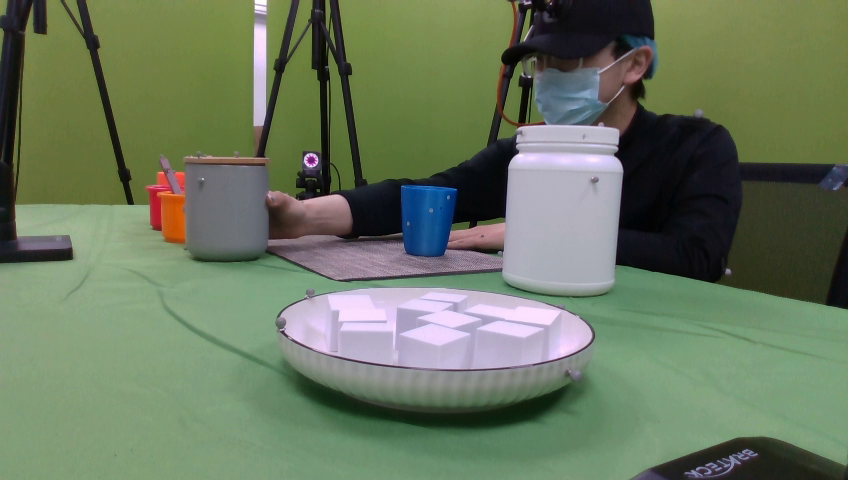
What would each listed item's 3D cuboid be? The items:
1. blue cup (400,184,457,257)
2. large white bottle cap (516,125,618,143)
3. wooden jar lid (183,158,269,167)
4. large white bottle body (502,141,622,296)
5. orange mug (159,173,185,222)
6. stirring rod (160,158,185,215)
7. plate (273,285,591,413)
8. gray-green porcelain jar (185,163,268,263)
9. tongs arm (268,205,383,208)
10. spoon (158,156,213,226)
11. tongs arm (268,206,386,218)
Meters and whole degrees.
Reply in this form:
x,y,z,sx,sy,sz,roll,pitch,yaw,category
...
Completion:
x,y,z,sx,sy,sz,roll,pitch,yaw,category
0.003,-0.029,0.901,0.093,0.100,0.092,4,8,0,blue cup
0.163,-0.120,0.695,0.115,0.018,0.115,2,8,0,large white bottle cap
-0.260,-0.099,0.800,0.108,0.020,0.108,0,9,0,wooden jar lid
0.160,-0.037,0.706,0.131,0.184,0.130,2,7,0,large white bottle body
-0.477,-0.089,1.241,0.127,0.101,0.083,-7,11,-33,orange mug
-0.391,-0.070,0.972,0.014,0.006,0.175,-3,51,-48,stirring rod
0.004,0.069,0.407,0.208,0.039,0.207,2,7,0,plate
-0.263,-0.038,0.808,0.106,0.126,0.106,3,8,0,gray-green porcelain jar
-0.288,-0.070,1.435,0.389,0.027,0.028,0,-1,-17,tongs arm
-0.435,-0.094,1.121,0.041,0.022,0.193,5,51,14,spoon
-0.252,-0.062,1.360,0.387,0.026,0.050,-1,3,-31,tongs arm
